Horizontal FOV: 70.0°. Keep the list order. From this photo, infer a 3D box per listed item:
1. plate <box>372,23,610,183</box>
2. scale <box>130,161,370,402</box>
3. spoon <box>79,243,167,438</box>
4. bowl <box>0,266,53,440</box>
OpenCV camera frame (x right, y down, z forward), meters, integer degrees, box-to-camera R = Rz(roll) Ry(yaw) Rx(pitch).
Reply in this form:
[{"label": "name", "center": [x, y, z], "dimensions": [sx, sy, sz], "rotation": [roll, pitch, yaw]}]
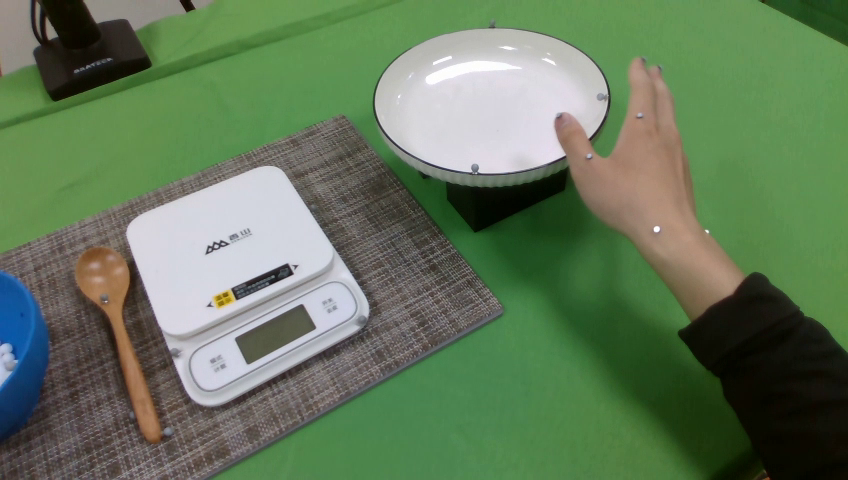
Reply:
[{"label": "plate", "center": [0.058, -0.123, 0.544], "dimensions": [0.209, 0.038, 0.207], "rotation": [-2, 51, 3]}, {"label": "scale", "center": [-0.150, 0.022, 0.507], "dimensions": [0.149, 0.032, 0.198], "rotation": [-27, 55, -16]}, {"label": "spoon", "center": [-0.237, 0.073, 0.479], "dimensions": [0.042, 0.022, 0.191], "rotation": [-16, 50, -27]}, {"label": "bowl", "center": [-0.331, 0.098, 0.430], "dimensions": [0.151, 0.077, 0.150], "rotation": [-2, 51, 3]}]
